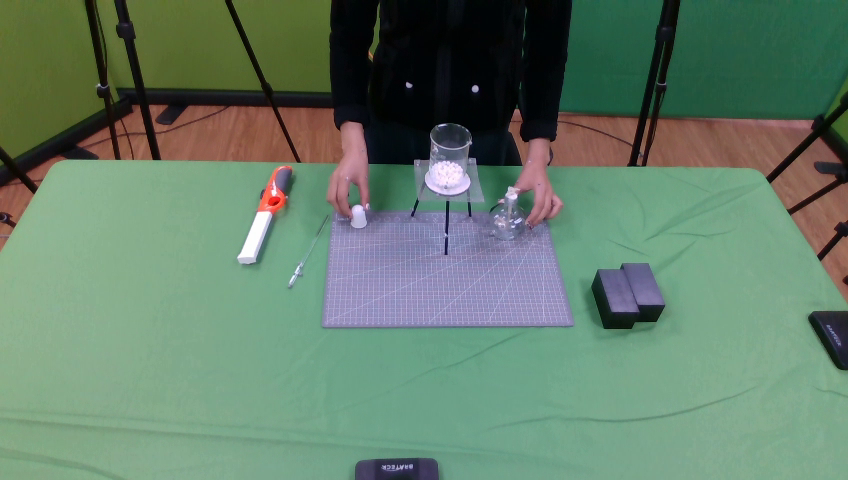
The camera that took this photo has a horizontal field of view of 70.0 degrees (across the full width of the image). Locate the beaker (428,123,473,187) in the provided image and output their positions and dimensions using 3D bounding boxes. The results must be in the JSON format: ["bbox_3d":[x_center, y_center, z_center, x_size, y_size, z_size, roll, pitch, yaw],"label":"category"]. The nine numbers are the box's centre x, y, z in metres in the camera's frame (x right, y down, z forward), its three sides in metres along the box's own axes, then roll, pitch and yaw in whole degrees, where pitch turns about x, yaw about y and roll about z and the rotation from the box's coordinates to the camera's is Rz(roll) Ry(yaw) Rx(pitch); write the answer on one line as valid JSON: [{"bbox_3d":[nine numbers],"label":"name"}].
[{"bbox_3d":[0.044,-0.154,1.109,0.074,0.101,0.083,-25,54,-25],"label":"beaker"}]

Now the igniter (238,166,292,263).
[{"bbox_3d":[-0.318,-0.060,1.229,0.057,0.025,0.275,-2,45,10],"label":"igniter"}]

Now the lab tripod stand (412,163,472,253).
[{"bbox_3d":[0.043,-0.069,1.187,0.148,0.132,0.147,3,47,-3],"label":"lab tripod stand"}]

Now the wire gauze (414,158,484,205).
[{"bbox_3d":[0.045,-0.113,1.137,0.125,0.011,0.120,2,48,-6],"label":"wire gauze"}]

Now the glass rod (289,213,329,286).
[{"bbox_3d":[-0.221,0.014,1.179,0.008,0.008,0.199,12,46,8],"label":"glass rod"}]

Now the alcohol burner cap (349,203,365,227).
[{"bbox_3d":[-0.134,-0.053,1.215,0.034,0.048,0.033,3,45,-3],"label":"alcohol burner cap"}]

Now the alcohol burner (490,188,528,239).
[{"bbox_3d":[0.170,-0.058,1.198,0.078,0.120,0.077,2,48,-2],"label":"alcohol burner"}]
